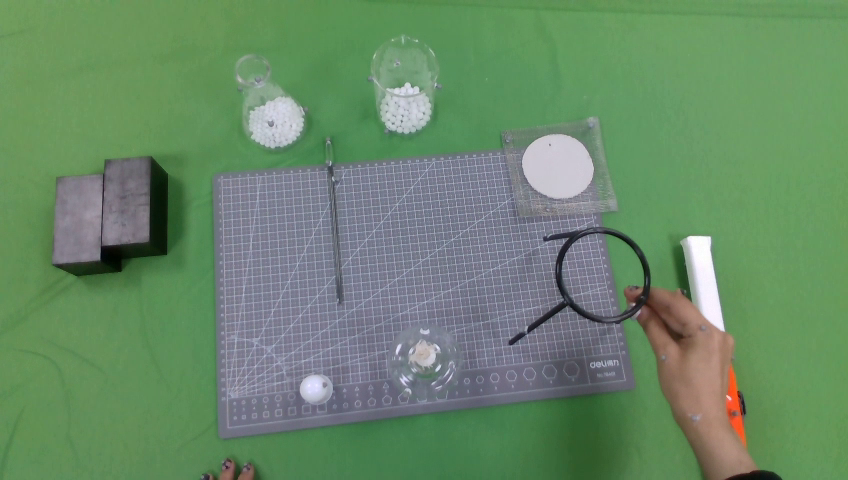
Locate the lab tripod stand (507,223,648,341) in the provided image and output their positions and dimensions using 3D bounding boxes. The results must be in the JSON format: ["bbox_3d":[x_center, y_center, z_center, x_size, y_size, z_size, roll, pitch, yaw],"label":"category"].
[{"bbox_3d":[0.153,0.048,0.613,0.149,0.132,0.147,2,76,-7],"label":"lab tripod stand"}]

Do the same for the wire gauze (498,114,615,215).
[{"bbox_3d":[0.160,-0.091,0.733,0.125,0.011,0.121,-6,75,-4],"label":"wire gauze"}]

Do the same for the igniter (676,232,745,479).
[{"bbox_3d":[0.317,0.125,0.673,0.057,0.025,0.275,2,74,-14],"label":"igniter"}]

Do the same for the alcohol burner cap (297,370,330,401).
[{"bbox_3d":[-0.117,0.152,0.634,0.034,0.048,0.033,1,75,-3],"label":"alcohol burner cap"}]

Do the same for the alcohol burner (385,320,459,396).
[{"bbox_3d":[-0.002,0.118,0.612,0.078,0.119,0.077,1,76,-2],"label":"alcohol burner"}]

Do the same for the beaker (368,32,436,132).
[{"bbox_3d":[-0.026,-0.179,0.704,0.074,0.101,0.083,-3,73,-4],"label":"beaker"}]

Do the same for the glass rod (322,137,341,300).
[{"bbox_3d":[-0.107,-0.028,0.701,0.008,0.008,0.198,-6,74,-5],"label":"glass rod"}]

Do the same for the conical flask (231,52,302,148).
[{"bbox_3d":[-0.182,-0.160,0.679,0.075,0.122,0.075,1,74,-2],"label":"conical flask"}]
